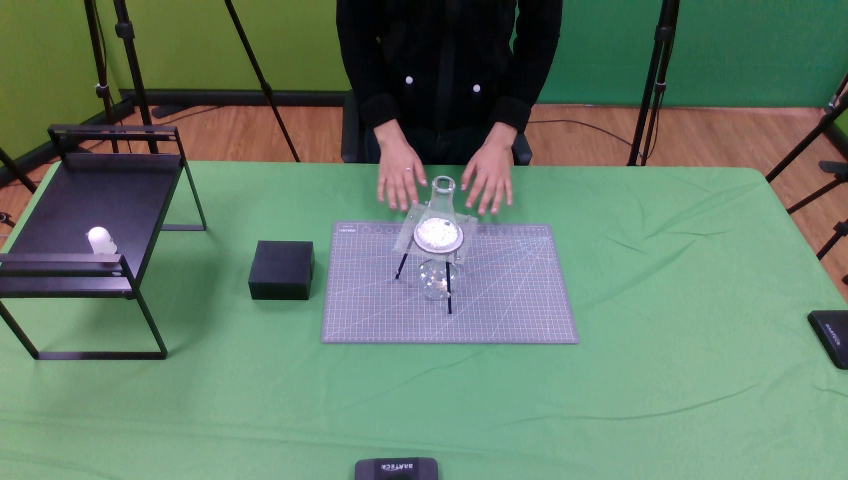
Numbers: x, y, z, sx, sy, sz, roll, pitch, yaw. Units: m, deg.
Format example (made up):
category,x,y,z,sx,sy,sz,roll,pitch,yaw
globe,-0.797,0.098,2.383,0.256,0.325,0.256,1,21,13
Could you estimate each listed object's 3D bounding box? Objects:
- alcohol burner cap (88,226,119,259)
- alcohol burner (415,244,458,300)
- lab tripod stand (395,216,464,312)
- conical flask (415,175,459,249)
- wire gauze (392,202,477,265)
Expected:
category,x,y,z,sx,sy,sz,roll,pitch,yaw
alcohol burner cap,-0.476,0.002,0.895,0.034,0.048,0.033,1,46,-1
alcohol burner,0.024,0.051,1.084,0.078,0.119,0.077,3,45,-3
lab tripod stand,0.023,0.037,1.084,0.148,0.132,0.147,4,47,-4
conical flask,0.026,-0.049,0.993,0.075,0.122,0.075,3,47,-3
wire gauze,0.021,-0.011,1.037,0.121,0.011,0.124,13,49,8
